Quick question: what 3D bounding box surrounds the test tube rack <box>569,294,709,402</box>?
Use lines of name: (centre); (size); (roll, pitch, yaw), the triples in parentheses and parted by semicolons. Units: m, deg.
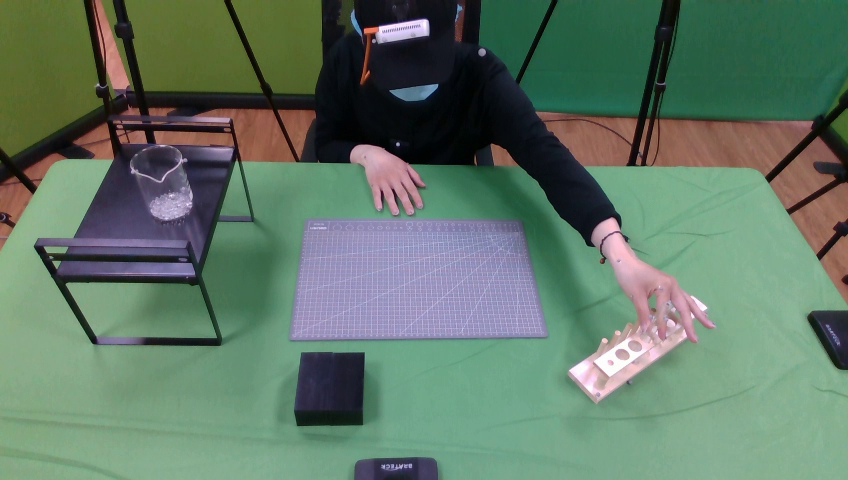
test tube rack: (0.360, 0.167, 1.014); (0.242, 0.085, 0.066); (-25, 53, -25)

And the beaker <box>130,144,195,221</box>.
beaker: (-0.403, -0.085, 0.944); (0.074, 0.101, 0.083); (-15, 50, -17)

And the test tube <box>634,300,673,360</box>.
test tube: (0.360, 0.147, 0.963); (0.017, 0.151, 0.017); (4, 47, -4)
